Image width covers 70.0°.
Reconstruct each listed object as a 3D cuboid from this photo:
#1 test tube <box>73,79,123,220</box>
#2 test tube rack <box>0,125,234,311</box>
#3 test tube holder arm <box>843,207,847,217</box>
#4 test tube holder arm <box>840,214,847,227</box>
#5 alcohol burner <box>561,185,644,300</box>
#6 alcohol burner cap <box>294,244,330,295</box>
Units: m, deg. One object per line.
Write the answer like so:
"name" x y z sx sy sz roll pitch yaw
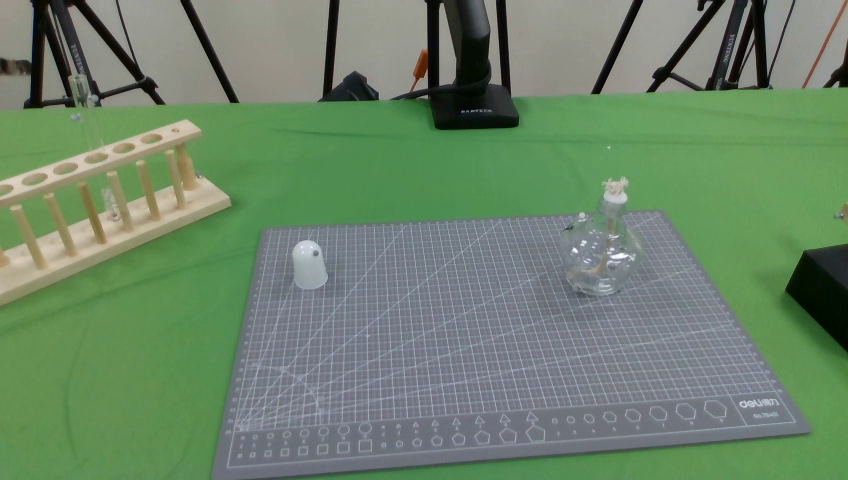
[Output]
"test tube" -0.324 -0.087 0.608 0.017 0.151 0.017 3 33 -1
"test tube rack" -0.326 -0.032 0.617 0.242 0.086 0.066 -30 47 -34
"test tube holder arm" 0.425 -0.005 0.566 0.015 0.010 0.087 1 37 -3
"test tube holder arm" 0.426 0.026 0.534 0.015 0.013 0.176 1 37 -3
"alcohol burner" 0.169 -0.002 0.563 0.078 0.120 0.077 1 40 -1
"alcohol burner cap" -0.109 0.025 0.580 0.034 0.048 0.033 1 38 0
